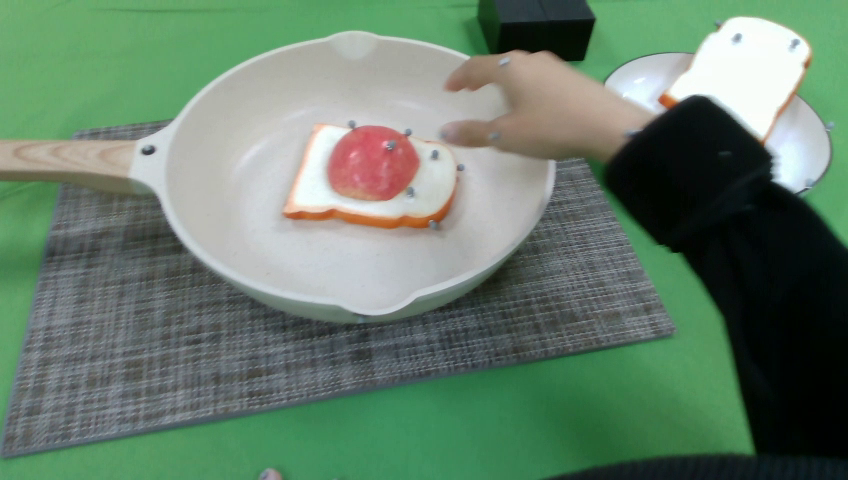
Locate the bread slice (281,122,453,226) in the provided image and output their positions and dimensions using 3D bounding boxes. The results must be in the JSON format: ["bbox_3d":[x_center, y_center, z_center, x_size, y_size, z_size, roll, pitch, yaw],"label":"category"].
[{"bbox_3d":[-0.043,-0.056,0.509,0.134,0.018,0.106,3,53,1],"label":"bread slice"}]

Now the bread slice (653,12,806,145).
[{"bbox_3d":[0.302,-0.166,0.587,0.104,0.019,0.131,33,77,20],"label":"bread slice"}]

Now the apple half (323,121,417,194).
[{"bbox_3d":[-0.045,-0.073,0.490,0.081,0.033,0.080,0,48,0],"label":"apple half"}]

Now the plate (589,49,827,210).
[{"bbox_3d":[0.254,-0.101,0.559,0.208,0.039,0.205,2,51,-2],"label":"plate"}]

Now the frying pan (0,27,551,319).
[{"bbox_3d":[-0.152,-0.059,0.455,0.489,0.103,0.303,1,50,-13],"label":"frying pan"}]
